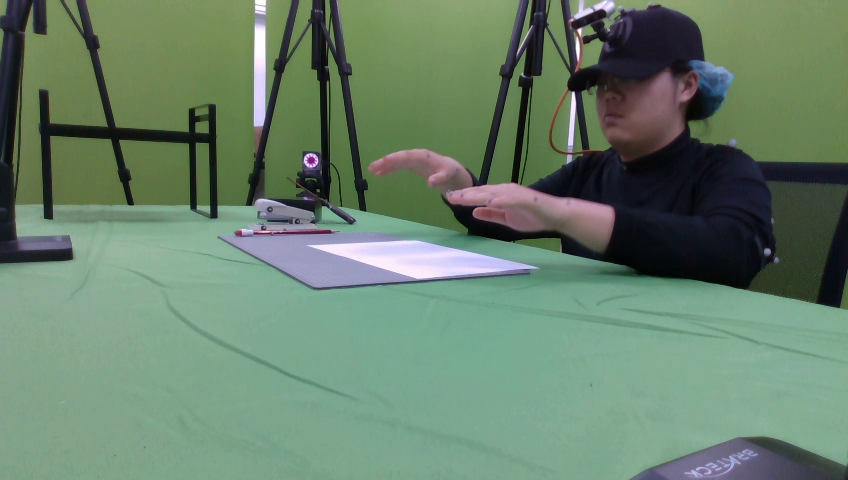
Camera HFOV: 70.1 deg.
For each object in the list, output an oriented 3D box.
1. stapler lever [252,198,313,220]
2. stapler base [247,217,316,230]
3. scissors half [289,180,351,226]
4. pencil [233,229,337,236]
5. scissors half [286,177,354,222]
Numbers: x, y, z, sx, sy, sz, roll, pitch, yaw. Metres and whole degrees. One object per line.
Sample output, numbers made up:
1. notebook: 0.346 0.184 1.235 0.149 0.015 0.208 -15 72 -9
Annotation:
1. stapler lever: -0.273 -0.059 1.170 0.119 0.040 0.026 0 10 -37
2. stapler base: -0.276 -0.033 1.172 0.131 0.024 0.041 0 10 -37
3. scissors half: -0.232 -0.085 1.318 0.175 0.013 0.040 37 20 4
4. pencil: -0.240 -0.014 1.066 0.195 0.012 0.012 -1 8 -37
5. scissors half: -0.229 -0.091 1.337 0.175 0.013 0.040 33 15 -13
